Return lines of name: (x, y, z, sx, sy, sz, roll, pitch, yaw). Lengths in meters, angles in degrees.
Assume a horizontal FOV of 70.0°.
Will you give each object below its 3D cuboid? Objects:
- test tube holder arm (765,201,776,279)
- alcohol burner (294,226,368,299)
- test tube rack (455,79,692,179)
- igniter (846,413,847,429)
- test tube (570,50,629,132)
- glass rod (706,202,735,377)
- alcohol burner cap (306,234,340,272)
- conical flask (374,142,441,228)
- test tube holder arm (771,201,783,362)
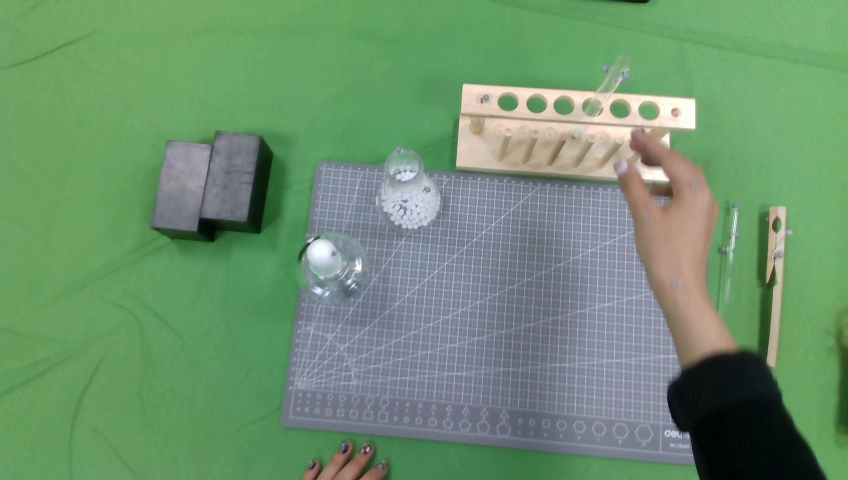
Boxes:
test tube holder arm: (0.388, 0.000, 0.677, 0.010, 0.015, 0.087, -2, 75, 39)
alcohol burner: (-0.099, 0.020, 0.624, 0.078, 0.119, 0.077, -1, 76, 3)
test tube rack: (0.158, -0.121, 0.670, 0.242, 0.085, 0.066, 4, 78, 1)
igniter: (0.489, 0.073, 0.654, 0.057, 0.025, 0.275, 15, 78, -6)
test tube: (0.177, -0.149, 0.626, 0.017, 0.151, 0.017, 1, 75, -2)
glass rod: (0.328, 0.052, 0.669, 0.008, 0.008, 0.199, 12, 80, 3)
alcohol burner cap: (-0.099, 0.010, 0.589, 0.034, 0.048, 0.033, 1, 74, -3)
conical flask: (-0.019, -0.062, 0.636, 0.075, 0.122, 0.075, 0, 77, 1)
test tube holder arm: (0.387, 0.043, 0.664, 0.013, 0.015, 0.177, -4, 74, 38)
